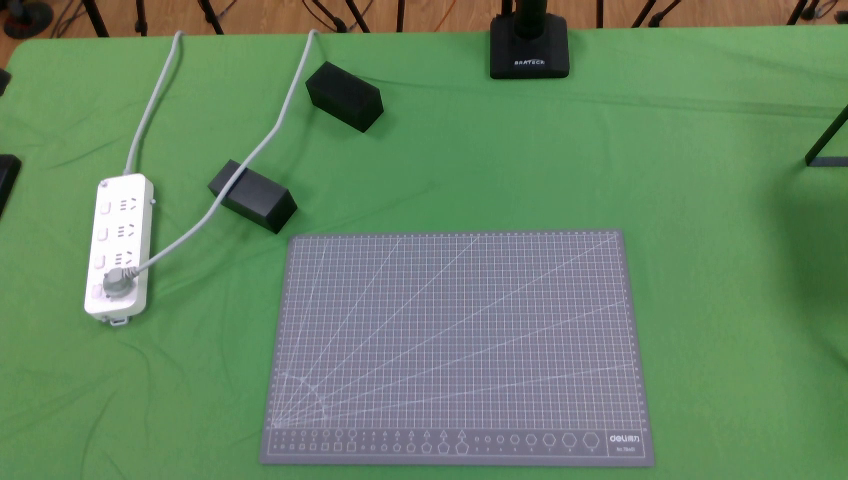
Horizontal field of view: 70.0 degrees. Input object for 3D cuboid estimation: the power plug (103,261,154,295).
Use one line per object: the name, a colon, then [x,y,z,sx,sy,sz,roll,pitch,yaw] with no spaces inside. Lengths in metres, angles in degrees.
power plug: [-0.375,0.053,0.778,0.072,0.053,0.035,0,64,5]

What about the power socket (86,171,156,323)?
power socket: [-0.412,0.002,0.829,0.072,0.033,0.224,-8,64,0]
